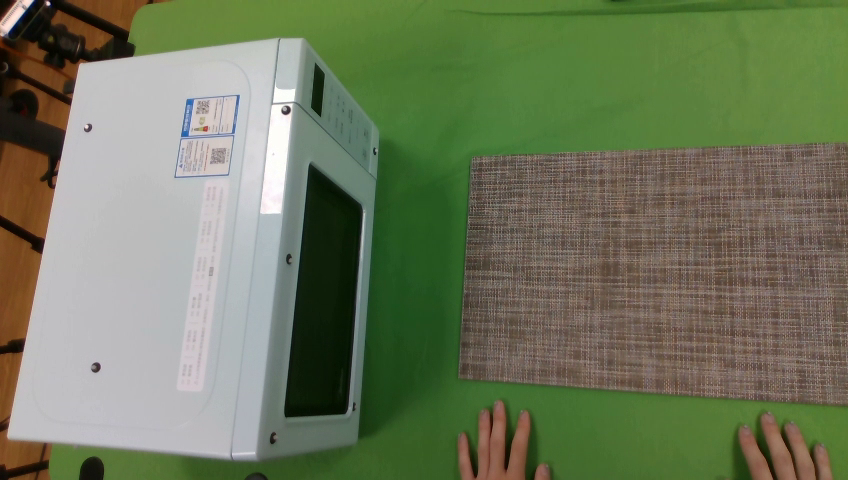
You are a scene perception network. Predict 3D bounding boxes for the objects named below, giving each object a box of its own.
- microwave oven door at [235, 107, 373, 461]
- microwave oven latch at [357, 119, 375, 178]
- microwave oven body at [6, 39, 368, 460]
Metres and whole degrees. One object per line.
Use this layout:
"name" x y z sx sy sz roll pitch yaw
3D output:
"microwave oven door" -0.126 0.061 0.701 0.039 0.245 0.354 -2 76 16
"microwave oven latch" -0.086 -0.127 0.845 0.030 0.030 0.079 -1 77 16
"microwave oven body" -0.263 0.025 0.755 0.325 0.262 0.439 -1 77 15
